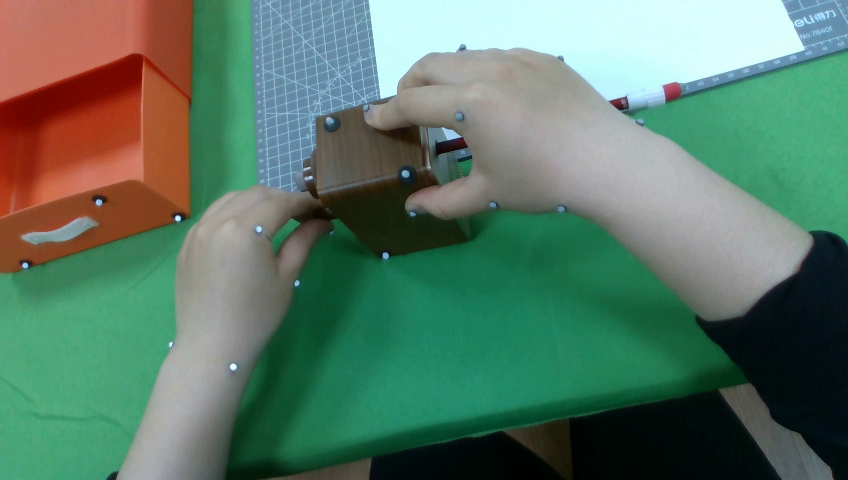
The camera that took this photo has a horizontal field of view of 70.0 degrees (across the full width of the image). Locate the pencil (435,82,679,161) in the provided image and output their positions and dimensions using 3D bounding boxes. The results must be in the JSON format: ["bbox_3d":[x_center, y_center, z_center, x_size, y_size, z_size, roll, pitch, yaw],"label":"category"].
[{"bbox_3d":[0.049,-0.061,0.356,0.194,0.012,0.012,-14,65,11],"label":"pencil"}]

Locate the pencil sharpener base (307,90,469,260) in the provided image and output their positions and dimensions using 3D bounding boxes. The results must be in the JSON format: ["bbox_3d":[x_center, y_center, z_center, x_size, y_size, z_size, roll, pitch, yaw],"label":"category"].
[{"bbox_3d":[-0.021,-0.036,0.398,0.076,0.108,0.061,-13,65,13],"label":"pencil sharpener base"}]

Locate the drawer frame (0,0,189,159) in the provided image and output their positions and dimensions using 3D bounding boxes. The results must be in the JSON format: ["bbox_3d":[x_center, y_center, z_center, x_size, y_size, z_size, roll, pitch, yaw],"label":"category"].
[{"bbox_3d":[-0.327,-0.197,0.573,0.201,0.083,0.211,-16,64,11],"label":"drawer frame"}]

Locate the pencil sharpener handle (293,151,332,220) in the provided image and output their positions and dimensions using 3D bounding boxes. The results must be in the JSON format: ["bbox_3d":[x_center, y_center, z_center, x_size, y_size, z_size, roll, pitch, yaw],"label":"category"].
[{"bbox_3d":[-0.073,-0.030,0.398,0.030,0.068,0.035,-13,68,13],"label":"pencil sharpener handle"}]

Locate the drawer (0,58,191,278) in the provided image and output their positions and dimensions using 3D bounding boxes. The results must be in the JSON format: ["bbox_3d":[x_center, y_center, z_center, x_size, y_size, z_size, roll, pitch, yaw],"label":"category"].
[{"bbox_3d":[-0.306,-0.092,0.527,0.194,0.074,0.210,-16,64,11],"label":"drawer"}]
